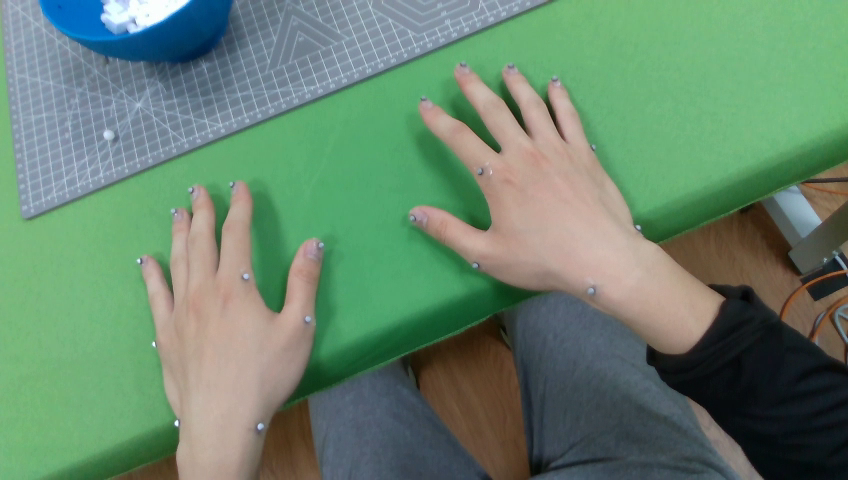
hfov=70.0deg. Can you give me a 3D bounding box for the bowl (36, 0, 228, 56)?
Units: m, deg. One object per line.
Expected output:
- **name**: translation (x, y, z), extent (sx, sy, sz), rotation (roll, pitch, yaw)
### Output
- **bowl**: translation (-0.205, -0.197, 0.466), extent (0.151, 0.077, 0.150), rotation (-3, 70, 9)
